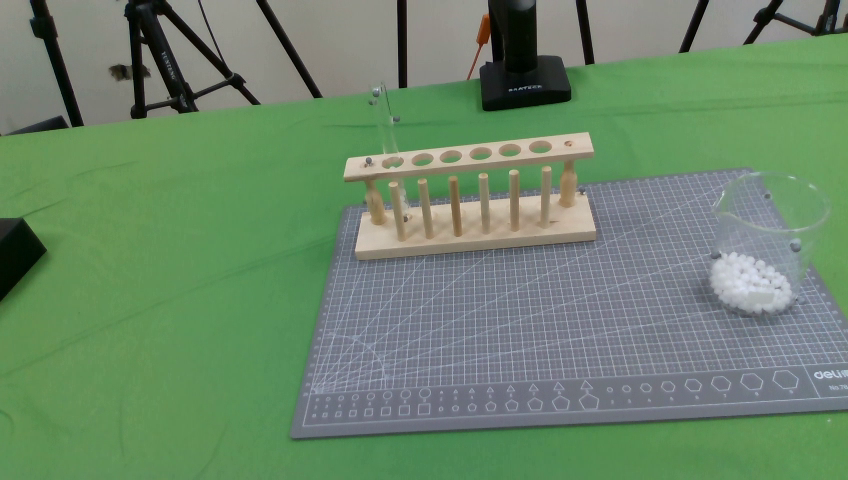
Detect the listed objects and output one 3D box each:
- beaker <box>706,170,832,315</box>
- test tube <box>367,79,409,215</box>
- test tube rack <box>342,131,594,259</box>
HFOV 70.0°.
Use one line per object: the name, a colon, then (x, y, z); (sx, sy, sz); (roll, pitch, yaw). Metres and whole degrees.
beaker: (0.270, 0.006, 0.493); (0.084, 0.101, 0.073); (-5, 41, 8)
test tube: (-0.033, -0.087, 0.599); (0.017, 0.152, 0.017); (-7, 38, 6)
test tube rack: (0.044, -0.043, 0.609); (0.242, 0.086, 0.066); (-5, 41, 7)
